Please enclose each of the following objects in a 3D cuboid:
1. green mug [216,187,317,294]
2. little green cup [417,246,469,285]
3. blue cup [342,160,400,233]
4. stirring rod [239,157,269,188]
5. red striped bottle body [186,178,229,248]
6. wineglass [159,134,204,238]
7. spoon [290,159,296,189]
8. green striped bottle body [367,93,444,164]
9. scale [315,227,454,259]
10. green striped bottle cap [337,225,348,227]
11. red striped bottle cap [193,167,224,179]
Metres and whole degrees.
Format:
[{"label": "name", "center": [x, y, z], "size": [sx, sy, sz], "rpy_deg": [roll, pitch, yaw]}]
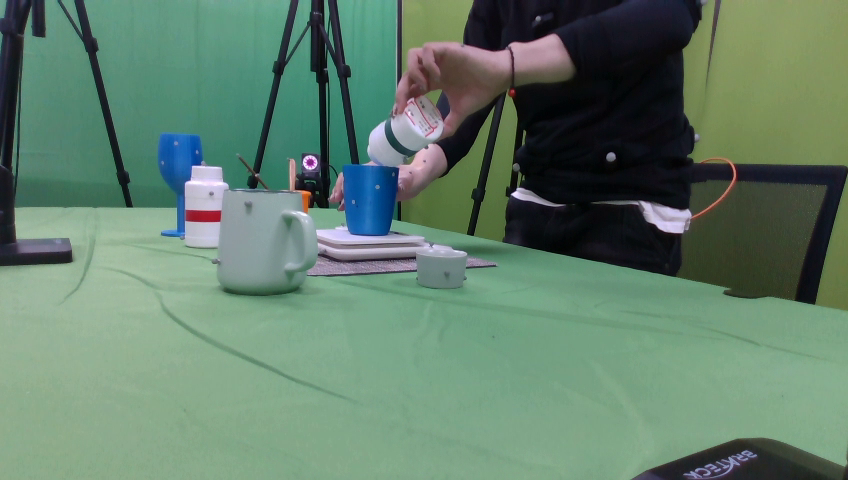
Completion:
[{"label": "green mug", "center": [-0.157, 0.000, 0.629], "size": [0.124, 0.105, 0.093], "rpy_deg": [8, 9, 37]}, {"label": "little green cup", "center": [0.021, 0.029, 0.701], "size": [0.061, 0.038, 0.061], "rpy_deg": [1, 6, 0]}, {"label": "blue cup", "center": [-0.079, -0.062, 0.884], "size": [0.093, 0.100, 0.092], "rpy_deg": [2, 3, 0]}, {"label": "stirring rod", "center": [-0.309, -0.098, 1.209], "size": [0.006, 0.177, 0.014], "rpy_deg": [-38, 29, -3]}, {"label": "red striped bottle body", "center": [-0.331, -0.050, 0.927], "size": [0.063, 0.119, 0.063], "rpy_deg": [2, 6, 0]}, {"label": "wineglass", "center": [-0.415, -0.093, 1.040], "size": [0.074, 0.172, 0.073], "rpy_deg": [2, 7, 0]}, {"label": "spoon", "center": [-0.273, -0.102, 1.252], "size": [0.042, 0.193, 0.021], "rpy_deg": [7, -38, -17]}, {"label": "green striped bottle body", "center": [-0.032, -0.147, 0.830], "size": [0.063, 0.063, 0.119], "rpy_deg": [-4, -14, -39]}, {"label": "scale", "center": [-0.066, 0.001, 0.906], "size": [0.202, 0.031, 0.148], "rpy_deg": [-2, 8, -31]}, {"label": "green striped bottle cap", "center": [-0.137, -0.015, 1.093], "size": [0.044, 0.020, 0.044], "rpy_deg": [-1, 9, 0]}, {"label": "red striped bottle cap", "center": [-0.329, -0.103, 0.921], "size": [0.044, 0.017, 0.044], "rpy_deg": [-1, 9, 0]}]
